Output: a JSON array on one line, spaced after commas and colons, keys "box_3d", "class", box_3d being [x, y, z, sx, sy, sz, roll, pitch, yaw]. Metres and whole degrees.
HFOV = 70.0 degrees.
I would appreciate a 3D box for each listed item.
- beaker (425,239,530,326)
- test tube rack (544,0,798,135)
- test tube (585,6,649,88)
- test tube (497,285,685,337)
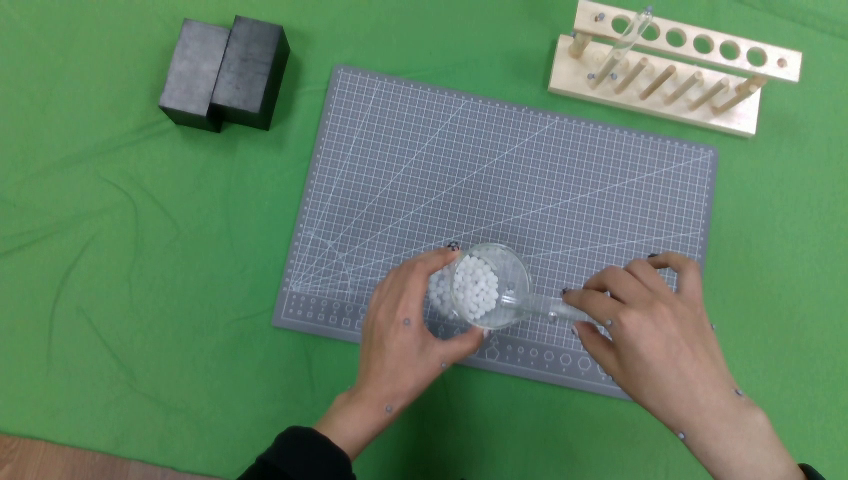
[{"box_3d": [0.046, 0.042, 0.559, 0.084, 0.100, 0.074, 33, 79, -9], "class": "beaker"}, {"box_3d": [0.266, -0.187, 0.668, 0.242, 0.085, 0.066, 12, 80, -2], "class": "test tube rack"}, {"box_3d": [0.195, -0.193, 0.619, 0.017, 0.150, 0.017, 0, 80, -2], "class": "test tube"}, {"box_3d": [0.134, 0.058, 0.496, 0.150, 0.017, 0.017, 9, 80, 17], "class": "test tube"}]
